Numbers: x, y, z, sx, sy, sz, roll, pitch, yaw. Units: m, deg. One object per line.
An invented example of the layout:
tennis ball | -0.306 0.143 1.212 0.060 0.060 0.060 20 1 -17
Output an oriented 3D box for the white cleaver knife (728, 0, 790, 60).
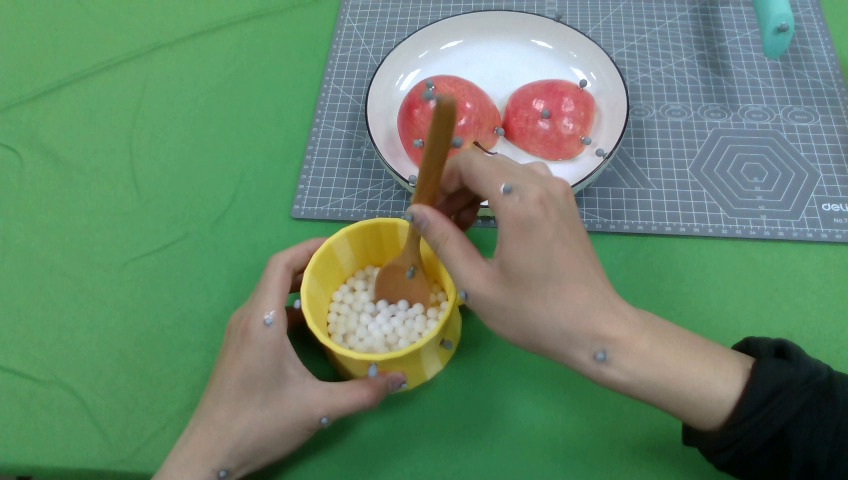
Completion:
white cleaver knife | 0.287 -0.260 0.552 0.021 0.066 0.284 1 56 10

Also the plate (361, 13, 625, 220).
plate | 0.054 -0.101 0.494 0.209 0.038 0.207 -2 60 3

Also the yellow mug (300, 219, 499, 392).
yellow mug | -0.011 0.040 0.405 0.131 0.064 0.099 -17 62 -7

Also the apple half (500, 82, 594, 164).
apple half | 0.098 -0.102 0.484 0.081 0.033 0.080 -2 63 3

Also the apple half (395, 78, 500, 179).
apple half | 0.016 -0.096 0.476 0.081 0.054 0.074 -36 61 -15

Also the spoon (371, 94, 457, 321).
spoon | -0.005 -0.006 0.356 0.041 0.195 0.021 26 55 7
